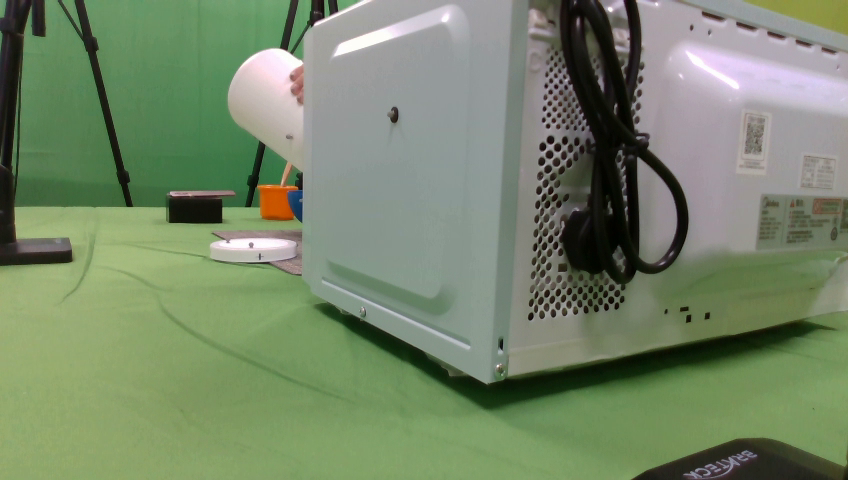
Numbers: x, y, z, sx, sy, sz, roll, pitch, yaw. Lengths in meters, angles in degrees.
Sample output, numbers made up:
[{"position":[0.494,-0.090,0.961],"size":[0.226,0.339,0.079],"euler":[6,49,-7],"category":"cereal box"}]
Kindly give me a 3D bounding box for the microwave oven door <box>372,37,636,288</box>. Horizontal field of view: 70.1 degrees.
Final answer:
[{"position":[0.110,-0.080,0.687],"size":[0.358,0.243,0.039],"euler":[-2,9,-33],"category":"microwave oven door"}]

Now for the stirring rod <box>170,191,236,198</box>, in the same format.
[{"position":[-0.465,-0.098,1.283],"size":[0.014,0.006,0.177],"euler":[42,21,17],"category":"stirring rod"}]

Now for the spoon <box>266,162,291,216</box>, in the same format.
[{"position":[-0.333,-0.127,1.423],"size":[0.041,0.193,0.022],"euler":[-1,-37,8],"category":"spoon"}]

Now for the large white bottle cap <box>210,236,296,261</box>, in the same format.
[{"position":[-0.236,0.011,0.839],"size":[0.115,0.018,0.115],"euler":[-1,10,0],"category":"large white bottle cap"}]

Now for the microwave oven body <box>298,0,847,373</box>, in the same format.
[{"position":[0.151,-0.055,0.543],"size":[0.444,0.260,0.324],"euler":[-1,7,-33],"category":"microwave oven body"}]

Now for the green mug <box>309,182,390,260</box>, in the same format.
[{"position":[-0.102,-0.029,0.864],"size":[0.126,0.105,0.092],"euler":[-4,8,-40],"category":"green mug"}]

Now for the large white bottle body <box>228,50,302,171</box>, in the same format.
[{"position":[-0.173,-0.175,0.871],"size":[0.184,0.130,0.131],"euler":[36,20,18],"category":"large white bottle body"}]

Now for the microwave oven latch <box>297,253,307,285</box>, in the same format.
[{"position":[-0.082,0.027,0.582],"size":[0.079,0.029,0.030],"euler":[-1,7,-32],"category":"microwave oven latch"}]

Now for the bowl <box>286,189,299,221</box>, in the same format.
[{"position":[-0.179,-0.051,1.115],"size":[0.151,0.077,0.151],"euler":[3,8,0],"category":"bowl"}]
